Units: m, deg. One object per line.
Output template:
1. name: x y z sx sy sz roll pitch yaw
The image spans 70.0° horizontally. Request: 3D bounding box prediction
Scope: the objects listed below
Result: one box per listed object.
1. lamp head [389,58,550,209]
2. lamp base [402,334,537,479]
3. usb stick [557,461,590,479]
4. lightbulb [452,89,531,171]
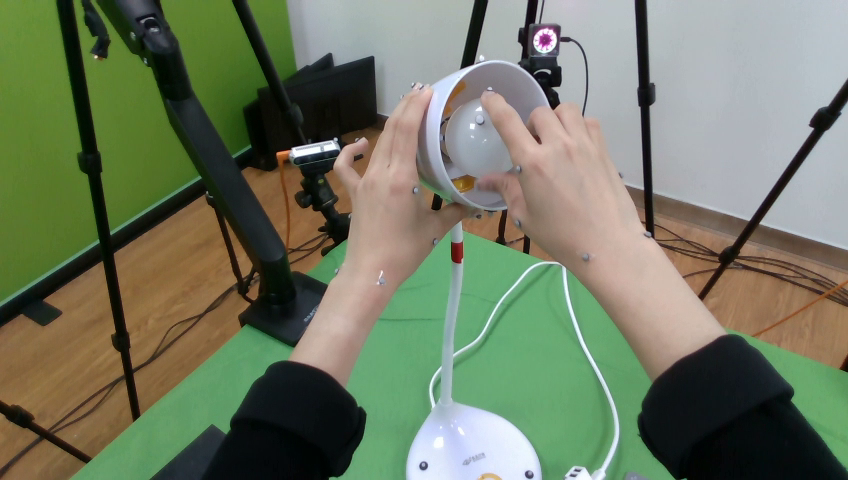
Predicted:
1. lamp head: 0.026 -0.081 0.501 0.112 0.113 0.122 -26 15 -27
2. lamp base: 0.044 0.203 0.678 0.161 0.182 0.177 -25 42 -26
3. usb stick: 0.176 0.282 0.684 0.027 0.059 0.021 -30 5 -35
4. lightbulb: 0.050 -0.094 0.475 0.059 0.060 0.106 -2 30 0
